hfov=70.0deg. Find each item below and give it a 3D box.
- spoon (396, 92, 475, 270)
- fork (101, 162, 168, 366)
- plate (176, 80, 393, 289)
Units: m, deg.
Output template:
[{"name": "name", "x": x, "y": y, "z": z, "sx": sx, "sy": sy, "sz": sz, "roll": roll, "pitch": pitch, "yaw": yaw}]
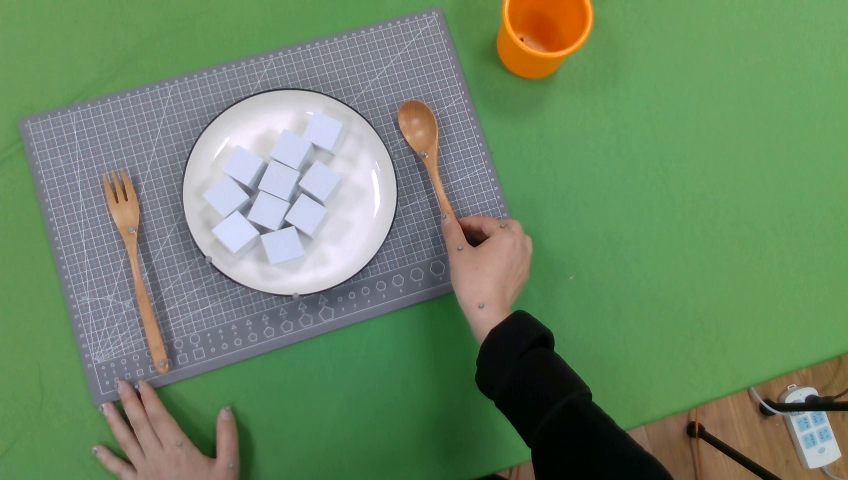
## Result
[{"name": "spoon", "x": 0.014, "y": -0.060, "z": 0.624, "sx": 0.041, "sy": 0.022, "sz": 0.193, "roll": -20, "pitch": 84, "yaw": 20}, {"name": "fork", "x": -0.281, "y": 0.023, "z": 0.595, "sx": 0.028, "sy": 0.018, "sz": 0.206, "roll": -15, "pitch": 84, "yaw": -12}, {"name": "plate", "x": -0.136, "y": -0.054, "z": 0.606, "sx": 0.208, "sy": 0.039, "sz": 0.207, "roll": 1, "pitch": 84, "yaw": -5}]
